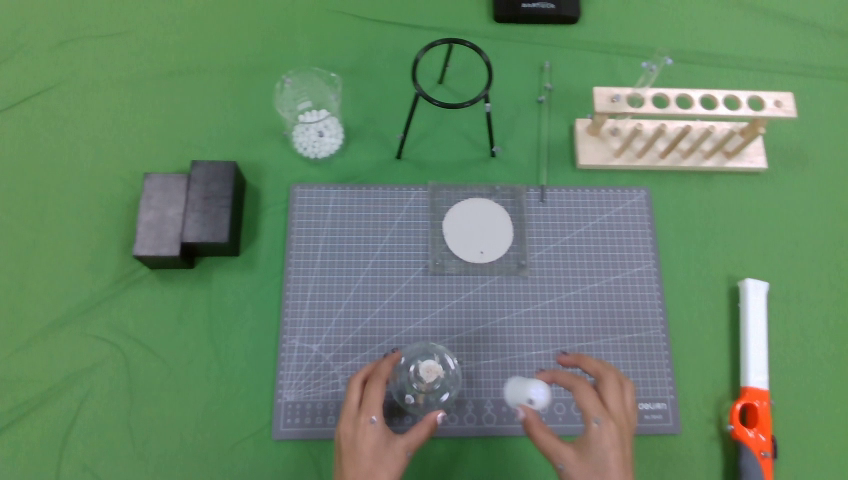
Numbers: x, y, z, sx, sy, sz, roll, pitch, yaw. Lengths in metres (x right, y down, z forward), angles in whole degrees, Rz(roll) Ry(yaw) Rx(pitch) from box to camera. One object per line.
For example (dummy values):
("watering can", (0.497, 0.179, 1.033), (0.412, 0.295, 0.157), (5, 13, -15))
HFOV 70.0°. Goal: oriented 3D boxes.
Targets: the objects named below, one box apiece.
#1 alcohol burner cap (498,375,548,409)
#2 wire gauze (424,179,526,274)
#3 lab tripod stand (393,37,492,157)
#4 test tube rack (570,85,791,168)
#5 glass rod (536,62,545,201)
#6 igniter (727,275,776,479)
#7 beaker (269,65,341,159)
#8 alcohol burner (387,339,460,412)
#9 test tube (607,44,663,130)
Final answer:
("alcohol burner cap", (0.095, 0.141, 0.561), (0.034, 0.048, 0.033), (6, 76, -24))
("wire gauze", (0.062, -0.019, 0.736), (0.125, 0.011, 0.120), (2, 71, -1))
("lab tripod stand", (0.022, -0.167, 0.719), (0.148, 0.132, 0.147), (0, 71, -1))
("test tube rack", (0.314, -0.138, 0.751), (0.242, 0.085, 0.066), (0, 71, -3))
("glass rod", (0.151, -0.143, 0.783), (0.008, 0.008, 0.198), (5, 73, -2))
("igniter", (0.368, 0.174, 0.683), (0.057, 0.025, 0.275), (13, 72, -10))
("beaker", (-0.135, -0.149, 0.723), (0.084, 0.101, 0.073), (-38, 77, -15))
("alcohol burner", (0.001, 0.137, 0.626), (0.078, 0.120, 0.077), (1, 70, -4))
("test tube", (0.243, -0.173, 0.707), (0.017, 0.151, 0.017), (1, 68, -1))
